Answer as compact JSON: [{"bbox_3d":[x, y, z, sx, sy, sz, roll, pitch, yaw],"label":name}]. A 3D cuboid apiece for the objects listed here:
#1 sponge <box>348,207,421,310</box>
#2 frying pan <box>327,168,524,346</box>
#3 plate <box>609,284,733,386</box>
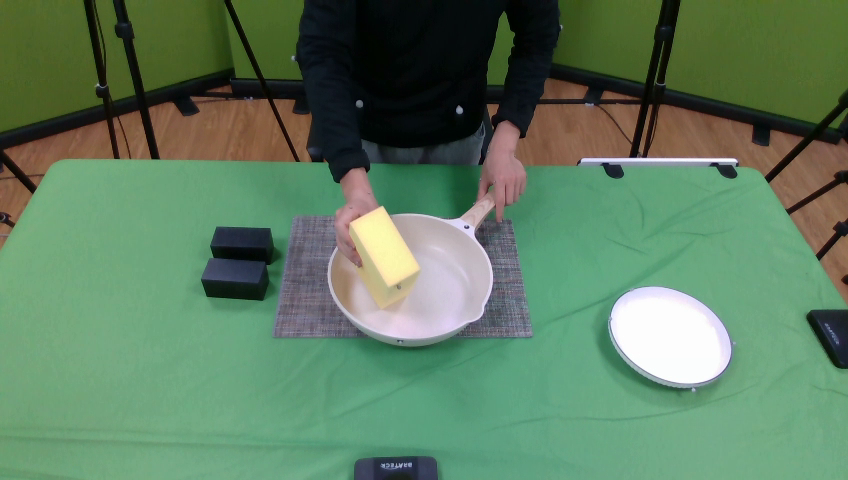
[{"bbox_3d":[-0.071,0.038,1.007,0.061,0.207,0.118,-29,80,-14],"label":"sponge"},{"bbox_3d":[0.042,0.009,1.132,0.305,0.103,0.487,34,61,24],"label":"frying pan"},{"bbox_3d":[0.425,0.167,1.059,0.208,0.039,0.206,2,46,-2],"label":"plate"}]
